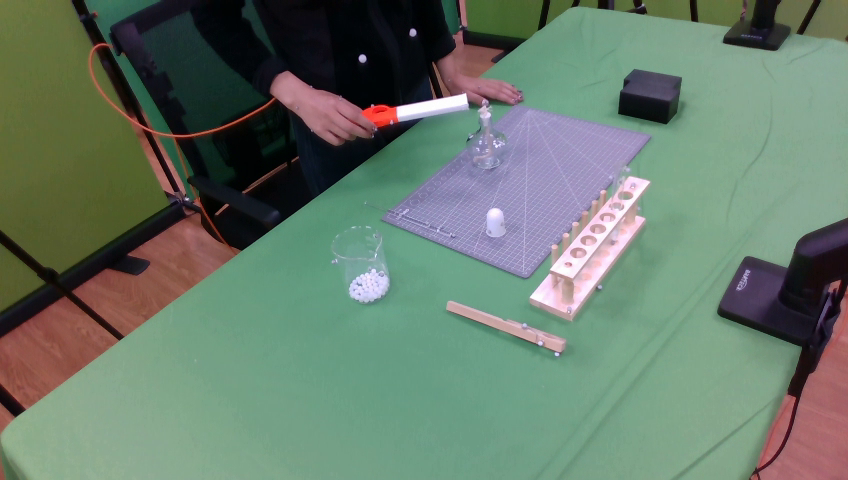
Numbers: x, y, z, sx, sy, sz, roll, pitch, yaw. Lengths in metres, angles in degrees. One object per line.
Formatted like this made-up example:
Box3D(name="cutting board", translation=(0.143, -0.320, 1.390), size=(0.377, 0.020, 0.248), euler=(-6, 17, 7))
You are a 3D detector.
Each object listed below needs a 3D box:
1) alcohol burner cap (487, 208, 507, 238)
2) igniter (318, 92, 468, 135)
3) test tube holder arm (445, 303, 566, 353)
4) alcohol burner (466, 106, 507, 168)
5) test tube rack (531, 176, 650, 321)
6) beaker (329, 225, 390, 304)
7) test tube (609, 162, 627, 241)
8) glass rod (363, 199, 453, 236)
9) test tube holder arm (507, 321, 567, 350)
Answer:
Box3D(name="alcohol burner cap", translation=(0.116, -0.030, 0.975), size=(0.034, 0.048, 0.033), euler=(-6, 40, 5))
Box3D(name="igniter", translation=(-0.058, -0.226, 1.085), size=(0.276, 0.025, 0.057), euler=(-9, 51, 8))
Box3D(name="test tube holder arm", translation=(0.107, 0.117, 0.823), size=(0.177, 0.015, 0.013), euler=(16, 11, 27))
Box3D(name="alcohol burner", translation=(0.115, -0.193, 1.112), size=(0.078, 0.119, 0.077), euler=(-4, 41, 4))
Box3D(name="test tube rack", translation=(0.246, 0.002, 0.884), size=(0.066, 0.085, 0.243), euler=(22, 49, 32))
Box3D(name="beaker", translation=(-0.089, 0.040, 0.890), size=(0.074, 0.101, 0.083), euler=(-32, 45, -24))
Box3D(name="test tube", translation=(0.277, -0.051, 0.864), size=(0.017, 0.151, 0.017), euler=(-6, 47, 7))
Box3D(name="glass rod", translation=(-0.031, -0.041, 1.041), size=(0.198, 0.008, 0.008), euler=(22, 50, 31))
Box3D(name="test tube holder arm", translation=(0.148, 0.128, 0.808), size=(0.087, 0.015, 0.010), euler=(16, 11, 28))
